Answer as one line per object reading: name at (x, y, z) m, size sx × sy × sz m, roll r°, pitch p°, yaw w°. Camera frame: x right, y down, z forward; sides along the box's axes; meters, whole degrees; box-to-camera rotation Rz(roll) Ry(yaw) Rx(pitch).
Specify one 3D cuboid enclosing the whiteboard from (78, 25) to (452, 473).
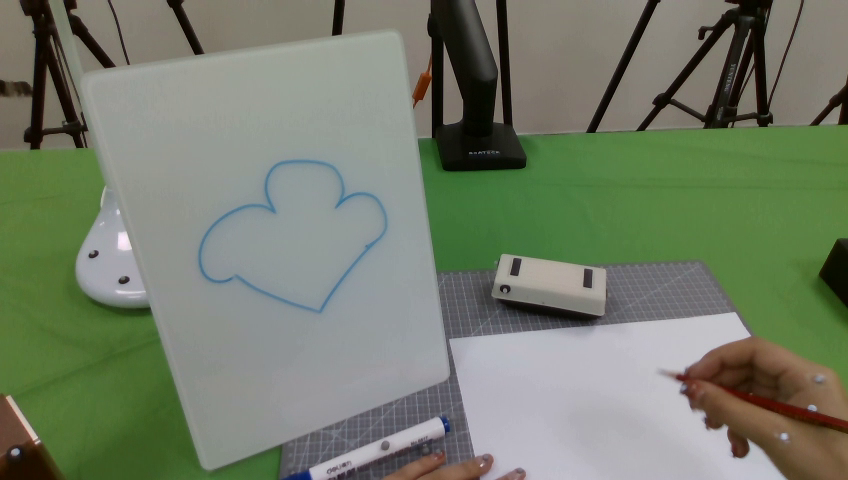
whiteboard at (-0.120, -0.006, 0.516) m, size 0.218 × 0.307 × 0.142 m, roll -16°, pitch 21°, yaw -20°

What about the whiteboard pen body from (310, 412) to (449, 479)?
whiteboard pen body at (-0.044, 0.165, 0.473) m, size 0.141 × 0.017 × 0.017 m, roll -16°, pitch 40°, yaw -20°

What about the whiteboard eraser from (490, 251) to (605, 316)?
whiteboard eraser at (0.128, 0.045, 0.621) m, size 0.112 × 0.042 × 0.055 m, roll 9°, pitch 39°, yaw 10°

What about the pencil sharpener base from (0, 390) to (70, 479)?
pencil sharpener base at (-0.284, 0.167, 0.399) m, size 0.061 × 0.108 × 0.077 m, roll 31°, pitch 47°, yaw 32°

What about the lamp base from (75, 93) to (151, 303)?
lamp base at (-0.303, -0.052, 0.625) m, size 0.178 × 0.182 × 0.160 m, roll 23°, pitch 43°, yaw 29°

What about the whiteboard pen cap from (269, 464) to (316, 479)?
whiteboard pen cap at (-0.098, 0.181, 0.452) m, size 0.033 × 0.018 × 0.018 m, roll -17°, pitch 41°, yaw -20°

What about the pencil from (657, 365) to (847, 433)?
pencil at (0.226, 0.103, 0.371) m, size 0.012 × 0.012 × 0.192 m, roll -23°, pitch 18°, yaw -28°
